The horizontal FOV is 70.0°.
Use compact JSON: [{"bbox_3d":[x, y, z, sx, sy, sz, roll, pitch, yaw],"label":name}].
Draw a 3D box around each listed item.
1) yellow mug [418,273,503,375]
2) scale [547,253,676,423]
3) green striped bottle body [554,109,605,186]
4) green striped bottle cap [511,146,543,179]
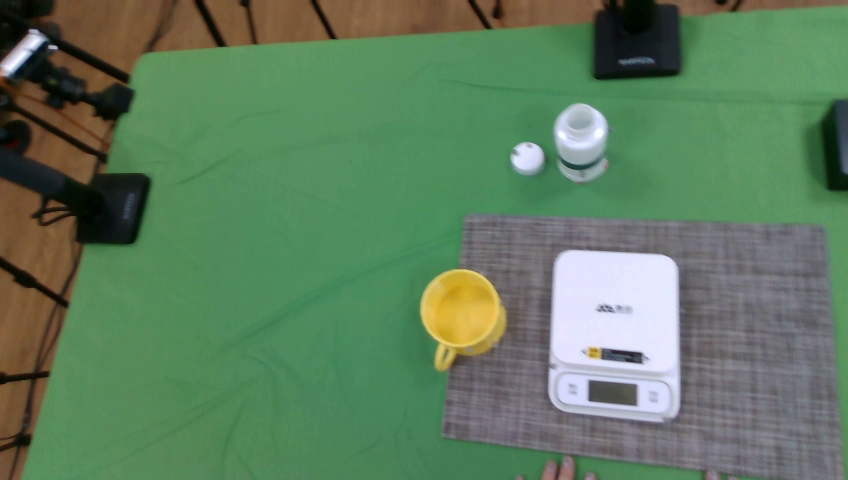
[{"bbox_3d":[0.042,0.112,0.775,0.099,0.064,0.130,21,78,21],"label":"yellow mug"},{"bbox_3d":[0.230,0.115,0.745,0.148,0.032,0.200,2,72,15],"label":"scale"},{"bbox_3d":[0.204,-0.123,0.792,0.063,0.120,0.063,-5,69,13],"label":"green striped bottle body"},{"bbox_3d":[0.146,-0.110,0.860,0.044,0.020,0.044,-3,76,13],"label":"green striped bottle cap"}]
